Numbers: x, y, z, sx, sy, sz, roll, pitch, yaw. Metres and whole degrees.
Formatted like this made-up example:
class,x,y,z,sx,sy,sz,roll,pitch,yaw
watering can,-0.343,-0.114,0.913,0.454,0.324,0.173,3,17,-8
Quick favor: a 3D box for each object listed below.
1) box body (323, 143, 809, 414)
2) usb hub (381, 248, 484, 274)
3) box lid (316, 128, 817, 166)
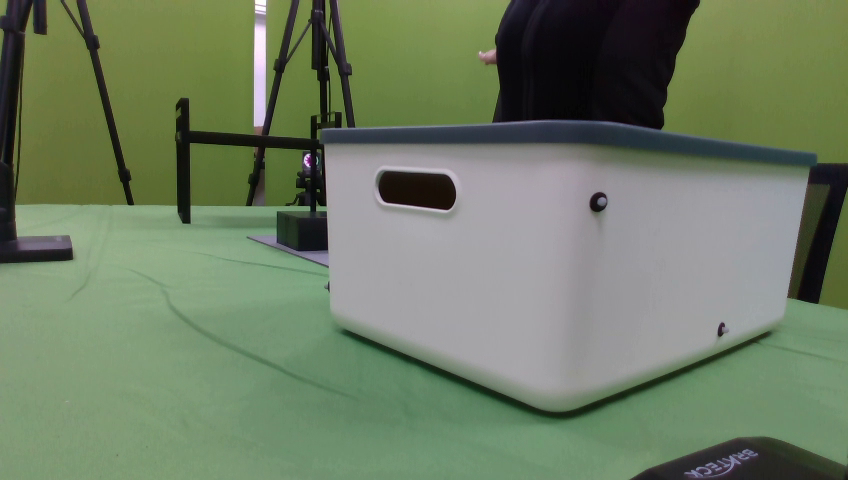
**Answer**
class,x,y,z,sx,sy,sz,roll,pitch,yaw
box body,0.124,0.000,0.510,0.366,0.160,0.253,-4,10,-42
usb hub,0.011,0.026,0.775,0.126,0.025,0.049,0,7,-26
box lid,0.128,-0.074,0.501,0.374,0.015,0.262,-5,11,-41
